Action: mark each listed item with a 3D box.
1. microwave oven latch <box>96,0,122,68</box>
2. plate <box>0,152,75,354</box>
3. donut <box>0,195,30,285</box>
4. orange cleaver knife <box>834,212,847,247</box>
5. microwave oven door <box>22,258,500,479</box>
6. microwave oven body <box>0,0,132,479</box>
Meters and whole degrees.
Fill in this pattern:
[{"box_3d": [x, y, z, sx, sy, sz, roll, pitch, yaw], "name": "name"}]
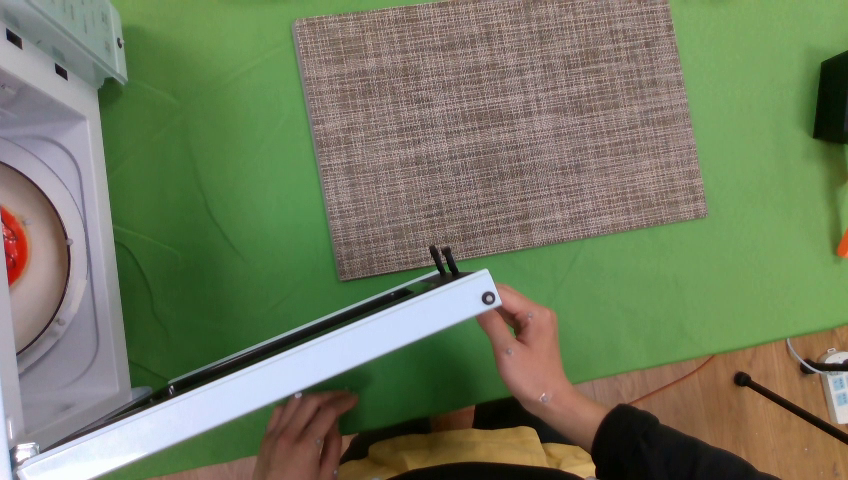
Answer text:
[{"box_3d": [-0.334, -0.222, 0.629, 0.030, 0.029, 0.079, -5, 90, -7], "name": "microwave oven latch"}, {"box_3d": [-0.436, 0.013, 0.569, 0.209, 0.038, 0.209, 0, 89, -7], "name": "plate"}, {"box_3d": [-0.419, 0.001, 0.560, 0.099, 0.048, 0.099, 0, 89, -7], "name": "donut"}, {"box_3d": [0.538, -0.095, 0.723, 0.012, 0.076, 0.212, 10, 117, -2], "name": "orange cleaver knife"}, {"box_3d": [-0.121, 0.097, 0.547, 0.356, 0.243, 0.039, -22, 90, -6], "name": "microwave oven door"}, {"box_3d": [-0.447, -0.031, 0.517, 0.326, 0.260, 0.441, -7, 90, -7], "name": "microwave oven body"}]
